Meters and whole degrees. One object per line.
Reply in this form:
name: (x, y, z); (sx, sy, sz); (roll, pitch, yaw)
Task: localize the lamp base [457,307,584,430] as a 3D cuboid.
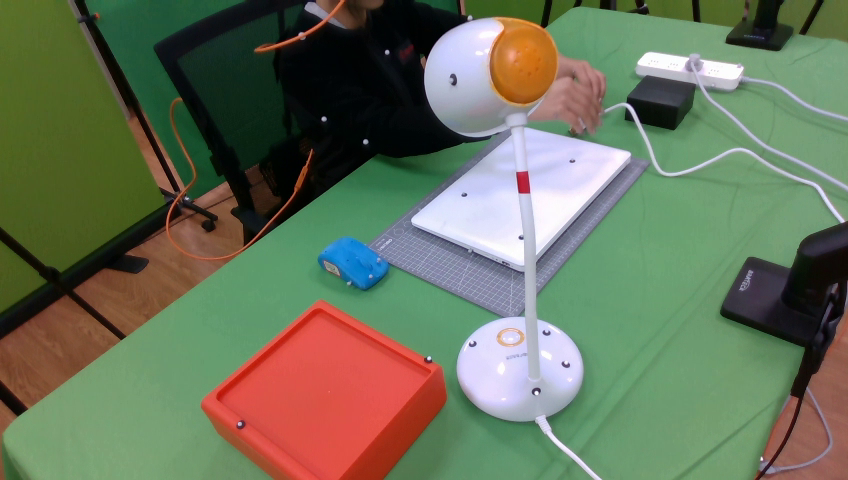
lamp base: (0.115, 0.108, 0.713); (0.161, 0.181, 0.178); (-16, 43, -8)

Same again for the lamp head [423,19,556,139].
lamp head: (0.068, -0.151, 0.563); (0.113, 0.113, 0.122); (-21, 18, -13)

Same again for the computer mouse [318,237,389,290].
computer mouse: (-0.113, 0.033, 0.959); (0.116, 0.041, 0.063); (28, 50, 31)

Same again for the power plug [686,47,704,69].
power plug: (0.565, -0.384, 1.246); (0.035, 0.073, 0.052); (22, 73, 14)

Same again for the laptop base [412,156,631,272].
laptop base: (0.176, -0.084, 1.055); (0.233, 0.023, 0.355); (21, 48, 36)

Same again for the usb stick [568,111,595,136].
usb stick: (0.308, -0.227, 1.190); (0.059, 0.021, 0.027); (-44, 13, -21)

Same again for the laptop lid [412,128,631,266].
laptop lid: (0.173, -0.093, 1.049); (0.239, 0.013, 0.358); (23, 49, 36)

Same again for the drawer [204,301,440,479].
drawer: (-0.119, 0.194, 0.735); (0.210, 0.073, 0.195); (23, 49, 32)

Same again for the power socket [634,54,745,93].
power socket: (0.563, -0.358, 1.295); (0.225, 0.033, 0.072); (20, 50, 30)

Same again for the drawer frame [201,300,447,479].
drawer frame: (-0.117, 0.193, 0.733); (0.212, 0.083, 0.202); (23, 48, 32)
